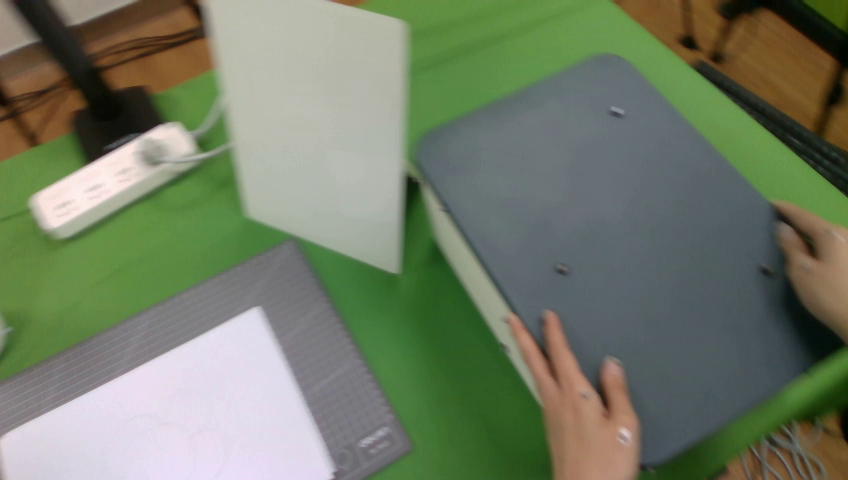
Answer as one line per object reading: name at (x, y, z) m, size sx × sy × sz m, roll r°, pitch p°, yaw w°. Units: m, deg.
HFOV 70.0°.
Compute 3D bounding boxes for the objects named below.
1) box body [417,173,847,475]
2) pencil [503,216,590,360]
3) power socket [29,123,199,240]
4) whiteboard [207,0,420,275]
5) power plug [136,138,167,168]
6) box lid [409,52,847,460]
box body at (0.179, 0.020, 0.620) m, size 0.254 × 0.162 × 0.360 m, roll -26°, pitch 61°, yaw -11°
pencil at (0.138, 0.051, 0.690) m, size 0.012 × 0.012 × 0.192 m, roll -23°, pitch 67°, yaw -9°
power socket at (-0.403, -0.079, 0.796) m, size 0.227 × 0.033 × 0.071 m, roll -34°, pitch 63°, yaw -16°
whiteboard at (-0.095, -0.145, 0.690) m, size 0.216 × 0.308 × 0.143 m, roll 20°, pitch 44°, yaw 16°
power plug at (-0.347, -0.100, 0.777) m, size 0.035 × 0.053 × 0.072 m, roll -25°, pitch 62°, yaw -10°
box lid at (0.173, -0.020, 0.557) m, size 0.263 × 0.015 × 0.368 m, roll -26°, pitch 62°, yaw -11°
